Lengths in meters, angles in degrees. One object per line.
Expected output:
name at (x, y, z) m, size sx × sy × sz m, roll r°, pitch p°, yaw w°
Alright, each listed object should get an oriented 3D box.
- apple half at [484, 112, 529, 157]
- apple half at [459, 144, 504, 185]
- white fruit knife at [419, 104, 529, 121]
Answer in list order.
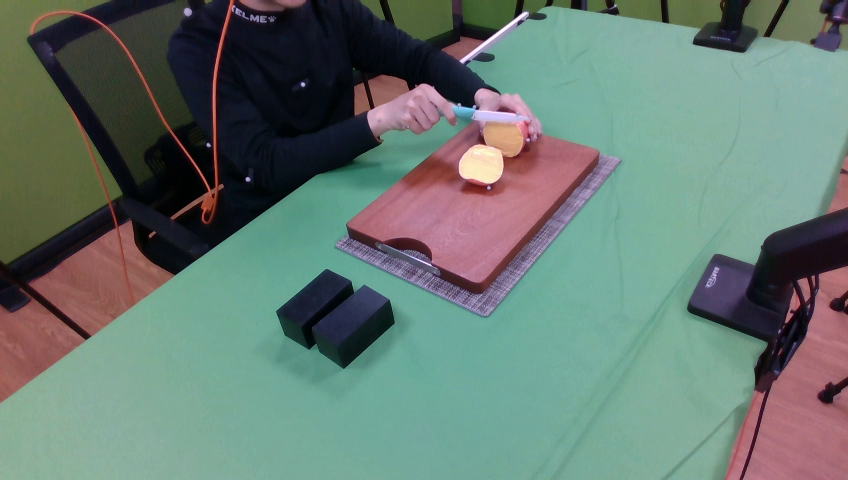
apple half at (0.153, -0.194, 1.090) m, size 0.080 × 0.075 × 0.053 m, roll 13°, pitch 41°, yaw 26°
apple half at (0.102, -0.125, 1.041) m, size 0.081 × 0.033 × 0.081 m, roll -3°, pitch 64°, yaw 7°
white fruit knife at (0.084, -0.221, 1.056) m, size 0.206 × 0.027 × 0.016 m, roll 9°, pitch 56°, yaw 23°
